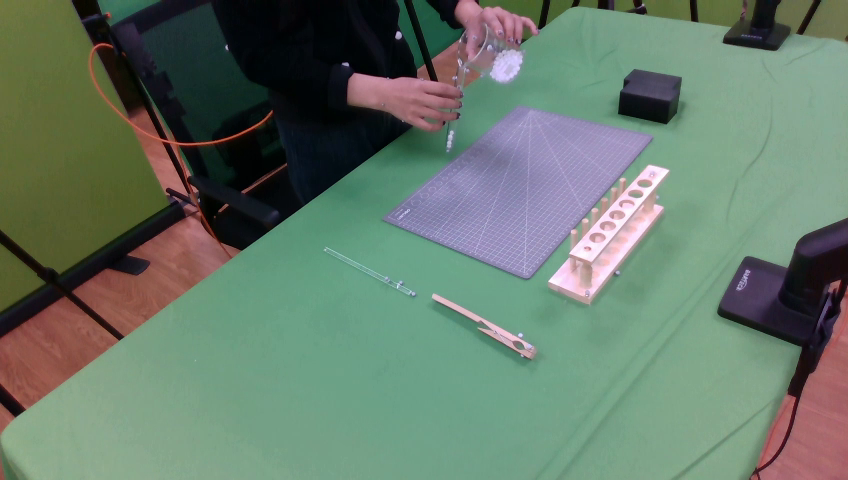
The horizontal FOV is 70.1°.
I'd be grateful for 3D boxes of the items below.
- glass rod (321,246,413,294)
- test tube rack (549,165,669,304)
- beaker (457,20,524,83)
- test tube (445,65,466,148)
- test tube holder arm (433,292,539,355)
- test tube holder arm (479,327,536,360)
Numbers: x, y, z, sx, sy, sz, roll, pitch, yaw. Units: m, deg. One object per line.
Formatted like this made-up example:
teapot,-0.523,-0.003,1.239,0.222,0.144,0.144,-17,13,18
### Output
glass rod,-0.094,0.045,0.956,0.198,0.008,0.008,24,51,33
test tube rack,0.279,-0.018,0.902,0.066,0.085,0.243,24,50,33
beaker,0.116,-0.320,1.049,0.101,0.084,0.073,17,18,-37
test tube,0.055,-0.234,1.068,0.017,0.150,0.017,7,30,-4
test tube holder arm,0.081,0.113,0.832,0.177,0.015,0.013,28,82,36
test tube holder arm,0.110,0.134,0.805,0.087,0.015,0.010,29,82,36
